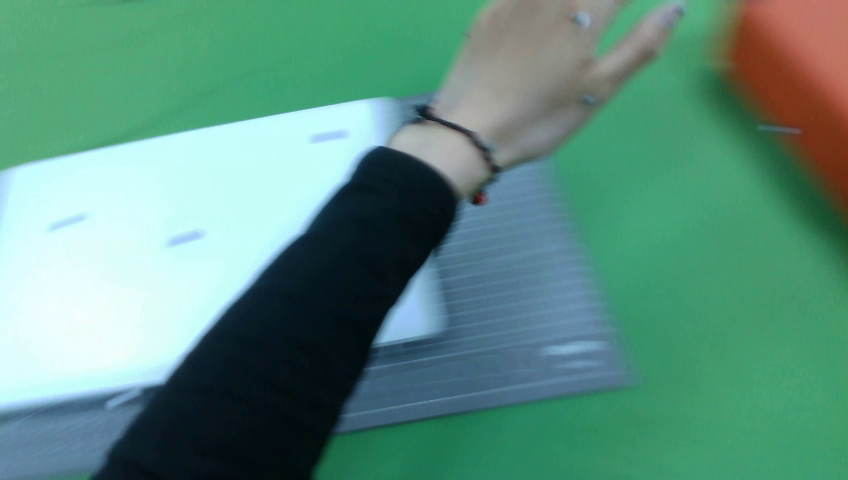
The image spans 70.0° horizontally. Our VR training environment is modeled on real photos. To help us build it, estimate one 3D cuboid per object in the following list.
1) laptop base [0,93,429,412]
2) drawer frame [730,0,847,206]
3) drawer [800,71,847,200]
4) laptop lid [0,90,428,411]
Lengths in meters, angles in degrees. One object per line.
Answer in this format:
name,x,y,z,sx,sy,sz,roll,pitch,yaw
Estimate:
laptop base,-0.183,0.001,0.485,0.354,0.023,0.233,-11,60,1
drawer frame,0.379,-0.121,0.448,0.202,0.083,0.211,-15,56,-1
drawer,0.402,-0.042,0.397,0.194,0.074,0.209,-16,56,-1
laptop lid,-0.184,-0.004,0.474,0.357,0.013,0.239,-9,59,2
